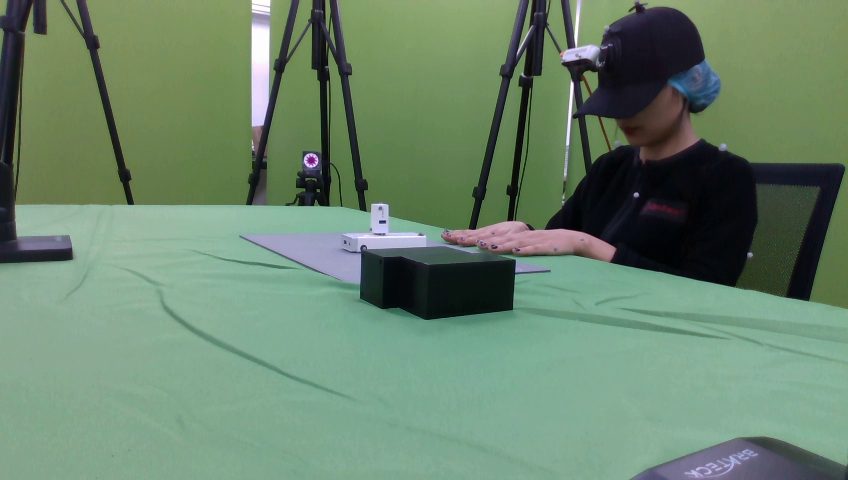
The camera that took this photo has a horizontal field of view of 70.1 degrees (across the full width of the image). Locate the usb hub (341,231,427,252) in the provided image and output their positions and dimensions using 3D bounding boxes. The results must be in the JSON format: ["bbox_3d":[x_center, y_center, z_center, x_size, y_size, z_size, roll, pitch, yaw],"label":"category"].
[{"bbox_3d":[-0.061,0.002,0.930,0.126,0.025,0.049,-2,9,-28],"label":"usb hub"}]

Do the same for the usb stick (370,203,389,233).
[{"bbox_3d":[-0.068,-0.027,0.926,0.021,0.059,0.027,-2,11,-30],"label":"usb stick"}]
